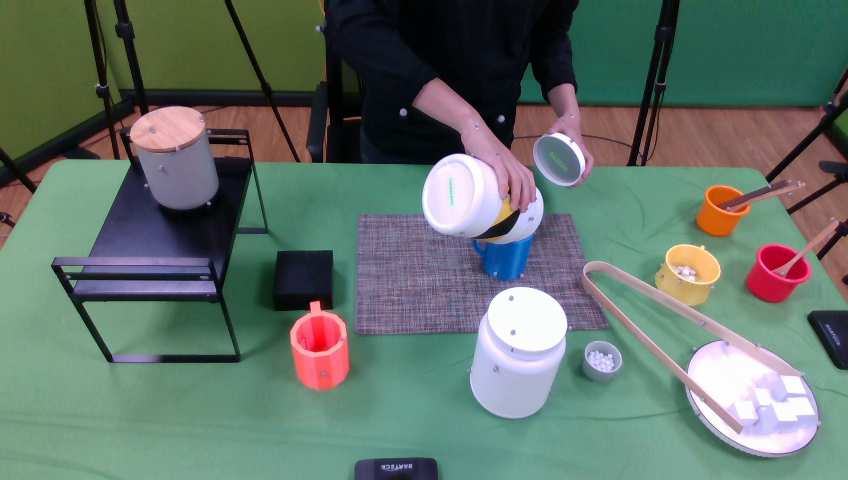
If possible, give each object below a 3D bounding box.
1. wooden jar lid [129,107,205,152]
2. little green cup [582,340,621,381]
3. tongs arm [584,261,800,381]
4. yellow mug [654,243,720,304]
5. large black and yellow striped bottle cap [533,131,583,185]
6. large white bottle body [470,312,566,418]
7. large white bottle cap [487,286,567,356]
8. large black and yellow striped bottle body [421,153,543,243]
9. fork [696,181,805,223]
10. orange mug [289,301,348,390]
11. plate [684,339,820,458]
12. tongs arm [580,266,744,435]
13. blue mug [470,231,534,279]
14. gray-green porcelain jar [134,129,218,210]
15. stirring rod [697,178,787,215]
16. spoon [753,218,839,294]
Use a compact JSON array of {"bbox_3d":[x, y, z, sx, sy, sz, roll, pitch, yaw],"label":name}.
[{"bbox_3d":[-0.385,-0.163,0.915,0.108,0.021,0.107,2,47,-2],"label":"wooden jar lid"},{"bbox_3d":[0.295,0.203,1.014,0.061,0.039,0.061,3,46,-3],"label":"little green cup"},{"bbox_3d":[0.452,0.137,1.063,0.051,0.027,0.382,-34,50,-27],"label":"tongs arm"},{"bbox_3d":[0.504,0.054,1.154,0.099,0.064,0.130,28,50,22],"label":"yellow mug"},{"bbox_3d":[0.266,-0.163,1.205,0.019,0.115,0.114,-37,59,-25],"label":"large black and yellow striped bottle cap"},{"bbox_3d":[0.143,0.173,0.930,0.131,0.185,0.130,2,46,-2],"label":"large white bottle body"},{"bbox_3d":[0.147,0.114,0.869,0.115,0.018,0.114,3,46,-3],"label":"large white bottle cap"},{"bbox_3d":[0.101,-0.064,1.008,0.185,0.131,0.130,9,35,-44],"label":"large black and yellow striped bottle body"},{"bbox_3d":[0.659,-0.077,1.232,0.207,0.019,0.028,-26,35,34],"label":"fork"},{"bbox_3d":[-0.170,0.162,0.976,0.083,0.101,0.125,-8,52,-11],"label":"orange mug"},{"bbox_3d":[0.523,0.256,0.982,0.208,0.039,0.206,2,46,-2],"label":"plate"},{"bbox_3d":[0.384,0.173,1.028,0.028,0.028,0.385,-25,46,-15],"label":"tongs arm"},{"bbox_3d":[0.141,0.005,1.140,0.116,0.106,0.082,18,48,13],"label":"blue mug"},{"bbox_3d":[-0.388,-0.120,0.960,0.106,0.127,0.105,2,46,-2],"label":"gray-green porcelain jar"},{"bbox_3d":[0.650,-0.088,1.245,0.006,0.176,0.014,29,49,-39],"label":"stirring rod"},{"bbox_3d":[0.700,0.031,1.138,0.194,0.022,0.041,-47,54,14],"label":"spoon"}]
